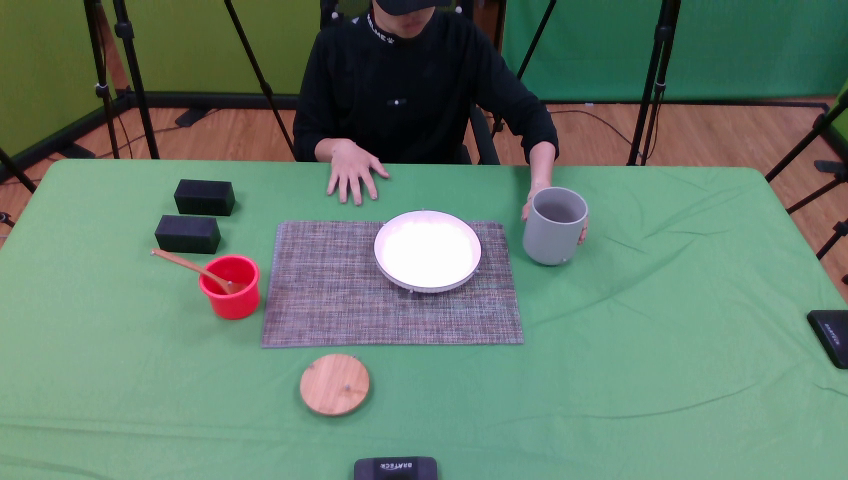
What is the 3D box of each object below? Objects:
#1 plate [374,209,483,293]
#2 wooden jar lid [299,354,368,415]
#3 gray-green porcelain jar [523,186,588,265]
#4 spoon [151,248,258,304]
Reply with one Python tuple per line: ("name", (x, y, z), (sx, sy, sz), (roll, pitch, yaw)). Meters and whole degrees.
("plate", (0.008, 0.024, 1.158), (0.208, 0.039, 0.206), (2, 46, -2))
("wooden jar lid", (-0.143, 0.232, 0.964), (0.108, 0.021, 0.107), (2, 45, -2))
("gray-green porcelain jar", (0.249, -0.023, 1.164), (0.106, 0.127, 0.105), (2, 46, -1))
("spoon", (-0.369, 0.058, 1.028), (0.195, 0.021, 0.041), (36, 35, -32))
